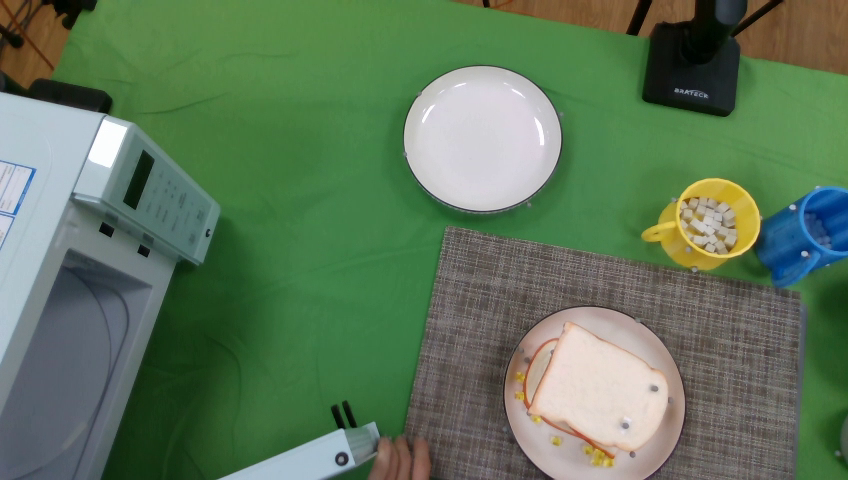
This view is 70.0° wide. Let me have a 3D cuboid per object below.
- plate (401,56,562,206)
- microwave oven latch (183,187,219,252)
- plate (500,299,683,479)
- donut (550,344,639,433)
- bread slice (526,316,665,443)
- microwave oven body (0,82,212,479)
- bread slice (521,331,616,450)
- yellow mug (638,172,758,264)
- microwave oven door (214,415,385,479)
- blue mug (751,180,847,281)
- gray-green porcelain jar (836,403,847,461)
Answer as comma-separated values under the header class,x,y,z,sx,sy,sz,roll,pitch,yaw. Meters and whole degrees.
class,x,y,z,sx,sy,sz,roll,pitch,yaw
plate,0.074,-0.140,0.795,0.208,0.039,0.206,0,75,1
microwave oven latch,-0.280,-0.028,0.751,0.030,0.029,0.079,16,77,5
plate,0.192,0.173,0.707,0.209,0.038,0.208,0,75,1
donut,0.191,0.167,0.680,0.099,0.048,0.098,0,74,1
bread slice,0.189,0.154,0.652,0.134,0.018,0.107,22,83,1
microwave oven body,-0.468,0.081,0.627,0.326,0.261,0.440,13,76,4
bread slice,0.180,0.169,0.708,0.131,0.019,0.104,24,77,8
yellow mug,0.330,-0.023,0.746,0.131,0.064,0.099,-9,75,0
microwave oven door,-0.219,0.250,0.573,0.356,0.245,0.039,-21,75,-5
blue mug,0.447,-0.002,0.718,0.082,0.106,0.116,32,78,9
gray-green porcelain jar,0.525,0.215,0.650,0.106,0.127,0.105,0,75,1
